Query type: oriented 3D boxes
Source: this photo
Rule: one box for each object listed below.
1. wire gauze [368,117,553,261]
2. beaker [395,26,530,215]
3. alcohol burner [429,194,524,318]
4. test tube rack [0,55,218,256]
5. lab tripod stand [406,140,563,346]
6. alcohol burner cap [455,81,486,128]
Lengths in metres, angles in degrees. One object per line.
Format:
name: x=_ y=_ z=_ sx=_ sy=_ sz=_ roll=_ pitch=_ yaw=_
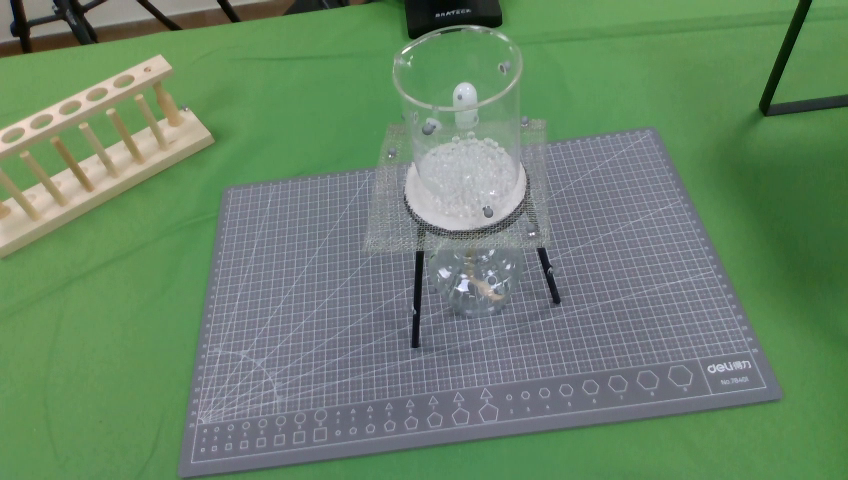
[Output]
wire gauze: x=0.027 y=-0.040 z=0.422 sx=0.121 sy=0.011 sz=0.124 roll=0 pitch=57 yaw=10
beaker: x=0.024 y=-0.071 z=0.383 sx=0.083 sy=0.101 sz=0.074 roll=25 pitch=62 yaw=25
alcohol burner: x=0.041 y=0.009 z=0.478 sx=0.078 sy=0.120 sz=0.077 roll=-4 pitch=50 yaw=6
test tube rack: x=-0.351 y=-0.091 z=0.629 sx=0.242 sy=0.086 sz=0.066 roll=-34 pitch=56 yaw=-18
lab tripod stand: x=0.037 y=0.004 z=0.470 sx=0.148 sy=0.133 sz=0.147 roll=-3 pitch=54 yaw=5
alcohol burner cap: x=0.049 y=-0.147 z=0.648 sx=0.034 sy=0.048 sz=0.033 roll=-4 pitch=53 yaw=6
